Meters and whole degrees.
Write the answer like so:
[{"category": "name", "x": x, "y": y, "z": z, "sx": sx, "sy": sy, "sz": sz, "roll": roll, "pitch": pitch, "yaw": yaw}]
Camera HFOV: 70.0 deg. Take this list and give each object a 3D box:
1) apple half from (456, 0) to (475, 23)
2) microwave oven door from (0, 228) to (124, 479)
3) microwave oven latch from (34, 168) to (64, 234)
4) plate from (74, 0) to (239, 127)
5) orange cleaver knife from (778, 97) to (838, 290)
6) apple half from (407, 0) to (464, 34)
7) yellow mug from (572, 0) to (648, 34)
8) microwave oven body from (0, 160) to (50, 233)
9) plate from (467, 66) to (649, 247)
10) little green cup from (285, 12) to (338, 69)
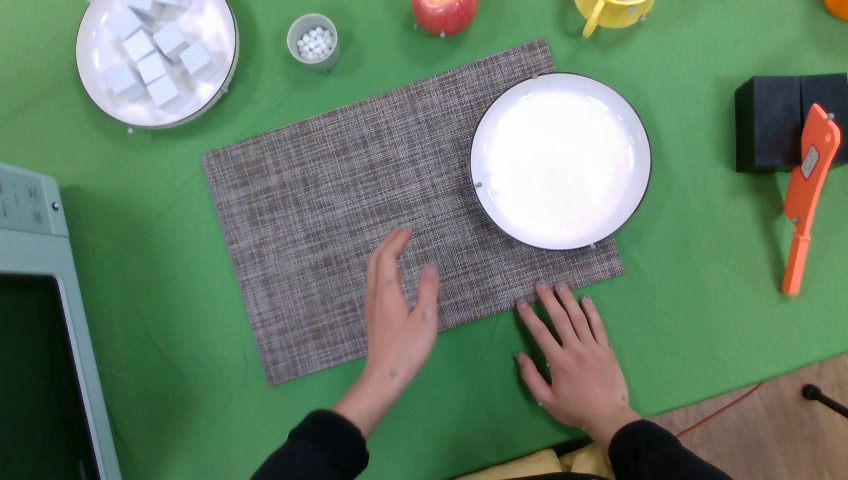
[{"category": "apple half", "x": 0.043, "y": -0.299, "z": 0.716, "sx": 0.033, "sy": 0.081, "sz": 0.081, "roll": -27, "pitch": 84, "yaw": 7}, {"category": "microwave oven door", "x": -0.421, "y": 0.159, "z": 0.624, "sx": 0.039, "sy": 0.244, "sz": 0.355, "roll": -16, "pitch": 85, "yaw": 3}, {"category": "microwave oven latch", "x": -0.467, "y": -0.046, "z": 0.741, "sx": 0.030, "sy": 0.029, "sz": 0.079, "roll": -13, "pitch": 86, "yaw": 3}, {"category": "plate", "x": -0.330, "y": -0.241, "z": 0.760, "sx": 0.207, "sy": 0.039, "sz": 0.207, "roll": 0, "pitch": 87, "yaw": 5}, {"category": "orange cleaver knife", "x": 0.414, "y": -0.047, "z": 0.668, "sx": 0.012, "sy": 0.076, "sz": 0.213, "roll": 1, "pitch": 117, "yaw": 8}, {"category": "apple half", "x": 0.008, "y": -0.281, "z": 0.719, "sx": 0.053, "sy": 0.075, "sz": 0.080, "roll": -27, "pitch": 88, "yaw": 7}, {"category": "yellow mug", "x": 0.216, "y": -0.300, "z": 0.706, "sx": 0.100, "sy": 0.064, "sz": 0.131, "roll": 30, "pitch": 90, "yaw": 6}, {"category": "microwave oven body", "x": -0.572, "y": 0.157, "z": 0.641, "sx": 0.326, "sy": 0.260, "sz": 0.440, "roll": -15, "pitch": 86, "yaw": 3}, {"category": "plate", "x": 0.154, "y": -0.095, "z": 0.709, "sx": 0.209, "sy": 0.038, "sz": 0.208, "roll": 0, "pitch": 87, "yaw": 5}, {"category": "little green cup", "x": -0.136, "y": -0.242, "z": 0.745, "sx": 0.061, "sy": 0.039, "sz": 0.061, "roll": 0, "pitch": 86, "yaw": 5}]
